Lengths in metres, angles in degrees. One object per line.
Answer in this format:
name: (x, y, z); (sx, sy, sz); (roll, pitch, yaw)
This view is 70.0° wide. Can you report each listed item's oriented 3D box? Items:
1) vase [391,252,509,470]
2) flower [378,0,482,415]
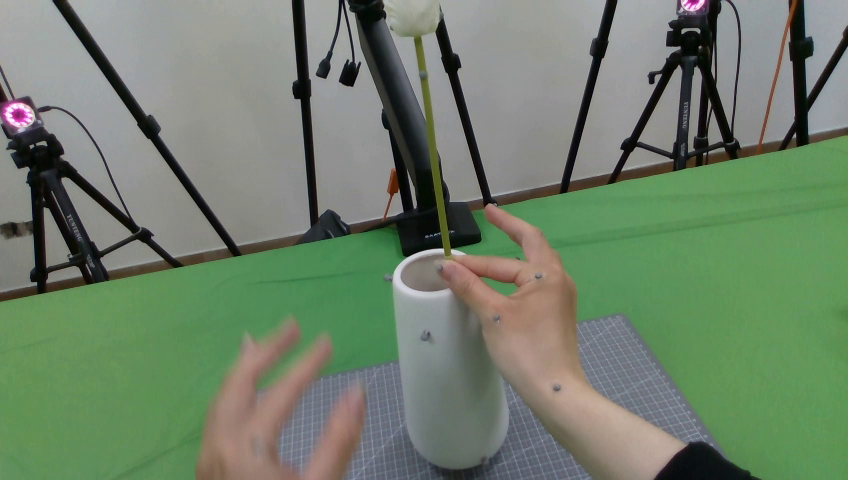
vase: (0.022, 0.110, 0.540); (0.098, 0.201, 0.097); (-7, 30, 5)
flower: (0.015, -0.022, 0.448); (0.038, 0.364, 0.043); (-15, 20, -12)
